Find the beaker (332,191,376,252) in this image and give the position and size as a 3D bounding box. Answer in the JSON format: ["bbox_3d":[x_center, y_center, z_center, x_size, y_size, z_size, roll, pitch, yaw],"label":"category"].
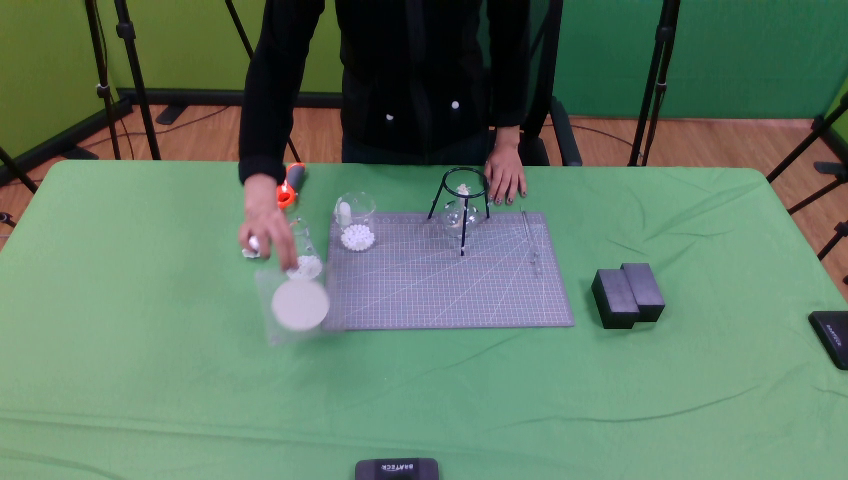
[{"bbox_3d":[-0.133,-0.032,1.162,0.084,0.101,0.073,-19,49,-20],"label":"beaker"}]

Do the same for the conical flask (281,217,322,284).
[{"bbox_3d":[-0.225,0.016,1.097,0.075,0.122,0.075,2,46,-2],"label":"conical flask"}]

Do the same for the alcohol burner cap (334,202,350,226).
[{"bbox_3d":[-0.167,-0.055,1.223,0.034,0.048,0.033,2,46,-2],"label":"alcohol burner cap"}]

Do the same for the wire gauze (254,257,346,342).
[{"bbox_3d":[-0.193,0.092,0.947,0.125,0.121,0.011,-9,11,-5],"label":"wire gauze"}]

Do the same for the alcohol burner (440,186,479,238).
[{"bbox_3d":[0.072,-0.061,1.198,0.078,0.119,0.077,3,47,-3],"label":"alcohol burner"}]

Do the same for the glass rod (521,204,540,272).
[{"bbox_3d":[0.215,-0.008,1.230,0.008,0.008,0.198,0,43,-3],"label":"glass rod"}]

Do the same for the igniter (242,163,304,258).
[{"bbox_3d":[-0.305,-0.069,1.239,0.057,0.025,0.275,2,45,12],"label":"igniter"}]

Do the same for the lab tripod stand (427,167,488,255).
[{"bbox_3d":[0.076,-0.068,1.191,0.148,0.132,0.147,2,44,-2],"label":"lab tripod stand"}]
